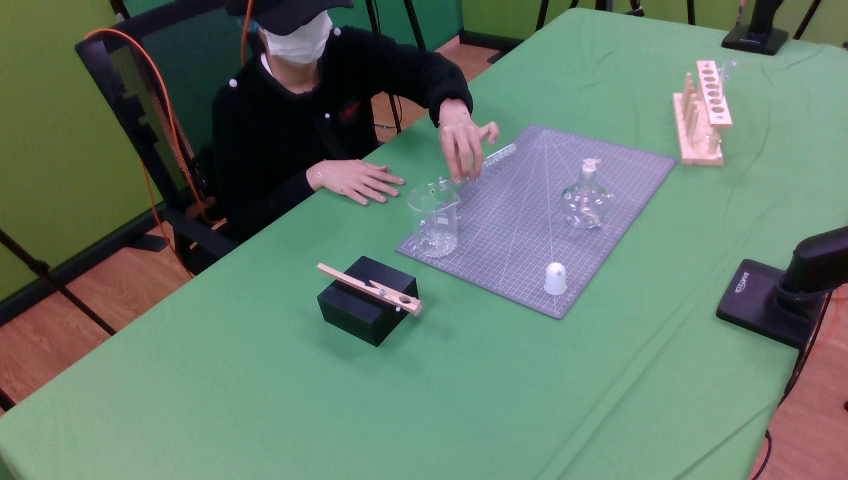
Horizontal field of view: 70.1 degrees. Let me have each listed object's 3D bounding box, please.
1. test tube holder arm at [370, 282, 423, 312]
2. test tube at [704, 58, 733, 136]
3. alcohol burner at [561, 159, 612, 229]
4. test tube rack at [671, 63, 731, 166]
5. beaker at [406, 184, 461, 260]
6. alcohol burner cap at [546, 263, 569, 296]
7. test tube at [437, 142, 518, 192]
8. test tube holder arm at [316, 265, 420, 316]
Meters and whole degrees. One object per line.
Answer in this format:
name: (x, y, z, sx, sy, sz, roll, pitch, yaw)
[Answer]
test tube holder arm: (-0.040, 0.076, 0.817, 0.087, 0.015, 0.010, 18, 56, 28)
test tube: (0.516, -0.247, 1.062, 0.017, 0.151, 0.017, -3, 43, 4)
alcohol burner: (0.257, -0.077, 0.951, 0.078, 0.119, 0.077, -3, 40, 3)
test tube rack: (0.513, -0.240, 1.132, 0.066, 0.085, 0.242, 4, 41, 14)
beaker: (0.019, -0.026, 0.939, 0.084, 0.101, 0.074, 1, 41, 9)
alcohol burner cap: (0.191, 0.053, 0.862, 0.034, 0.048, 0.033, -5, 40, 4)
test tube: (0.084, -0.113, 0.923, 0.151, 0.017, 0.017, -30, 44, -18)
test tube holder arm: (-0.081, 0.068, 0.836, 0.177, 0.015, 0.013, 18, 55, 28)
